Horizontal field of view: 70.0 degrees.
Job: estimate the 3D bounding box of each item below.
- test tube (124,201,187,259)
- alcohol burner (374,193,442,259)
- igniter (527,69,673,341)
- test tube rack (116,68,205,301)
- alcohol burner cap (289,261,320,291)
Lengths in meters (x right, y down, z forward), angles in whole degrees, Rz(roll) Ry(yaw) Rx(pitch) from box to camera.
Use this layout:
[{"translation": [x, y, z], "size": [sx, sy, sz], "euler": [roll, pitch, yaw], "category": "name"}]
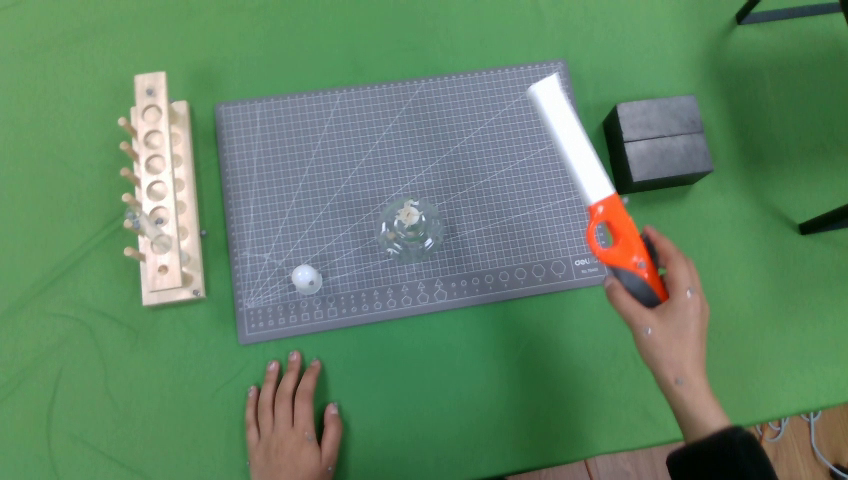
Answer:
[{"translation": [-0.271, -0.007, 0.622], "size": [0.017, 0.151, 0.017], "euler": [1, 72, -4], "category": "test tube"}, {"translation": [-0.018, -0.019, 0.673], "size": [0.078, 0.119, 0.077], "euler": [1, 79, -2], "category": "alcohol burner"}, {"translation": [0.172, -0.032, 0.583], "size": [0.057, 0.025, 0.276], "euler": [-26, 92, -7], "category": "igniter"}, {"translation": [-0.303, -0.060, 0.681], "size": [0.067, 0.085, 0.241], "euler": [-8, 78, -5], "category": "test tube rack"}, {"translation": [-0.137, 0.039, 0.690], "size": [0.034, 0.048, 0.033], "euler": [1, 77, -3], "category": "alcohol burner cap"}]
